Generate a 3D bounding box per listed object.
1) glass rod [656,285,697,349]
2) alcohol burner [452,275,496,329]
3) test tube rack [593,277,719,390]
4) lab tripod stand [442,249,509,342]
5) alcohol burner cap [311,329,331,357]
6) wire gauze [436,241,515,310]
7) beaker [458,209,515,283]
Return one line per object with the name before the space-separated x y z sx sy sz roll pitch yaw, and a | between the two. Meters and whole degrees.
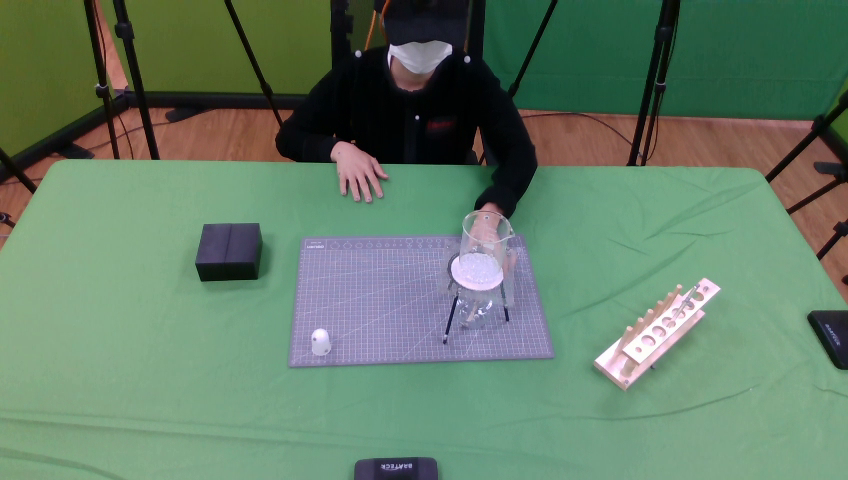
glass rod | 0.401 0.128 0.971 0.008 0.201 0.008 0 53 1
alcohol burner | 0.087 0.099 1.042 0.078 0.119 0.077 3 48 -3
test tube rack | 0.401 0.148 1.043 0.242 0.085 0.066 -30 55 -29
lab tripod stand | 0.081 0.091 1.036 0.148 0.132 0.147 3 44 -3
alcohol burner cap | -0.173 0.168 1.005 0.034 0.048 0.033 2 46 -2
wire gauze | 0.086 0.052 0.982 0.125 0.011 0.121 11 47 2
beaker | 0.094 0.013 0.952 0.084 0.101 0.073 12 46 7
